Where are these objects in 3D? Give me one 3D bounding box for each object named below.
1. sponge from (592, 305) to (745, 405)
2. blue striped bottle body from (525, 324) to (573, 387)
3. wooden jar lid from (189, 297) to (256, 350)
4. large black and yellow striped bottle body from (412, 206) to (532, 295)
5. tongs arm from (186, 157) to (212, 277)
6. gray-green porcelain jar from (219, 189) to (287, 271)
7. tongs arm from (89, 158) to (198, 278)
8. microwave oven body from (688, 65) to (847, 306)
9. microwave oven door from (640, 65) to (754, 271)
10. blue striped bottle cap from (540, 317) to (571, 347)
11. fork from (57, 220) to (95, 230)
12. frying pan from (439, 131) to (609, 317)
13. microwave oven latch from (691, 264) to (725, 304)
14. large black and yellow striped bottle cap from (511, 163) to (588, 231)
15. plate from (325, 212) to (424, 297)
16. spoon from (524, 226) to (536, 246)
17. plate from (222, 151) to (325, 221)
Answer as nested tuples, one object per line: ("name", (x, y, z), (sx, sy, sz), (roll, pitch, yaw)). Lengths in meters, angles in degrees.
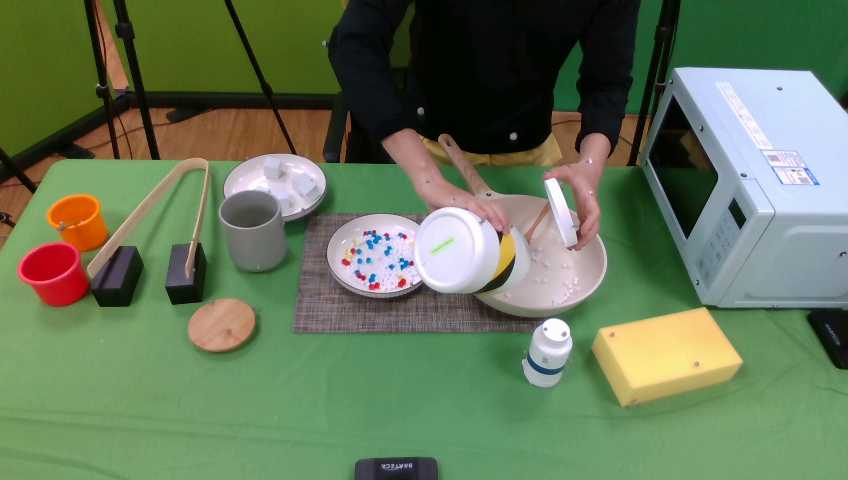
("sponge", (0.405, 0.190, 1.015), (0.207, 0.061, 0.117), (-10, 48, -13))
("blue striped bottle body", (0.201, 0.178, 0.970), (0.063, 0.121, 0.062), (2, 46, -1))
("wooden jar lid", (-0.342, 0.145, 1.033), (0.108, 0.021, 0.107), (2, 45, -2))
("large black and yellow striped bottle body", (0.084, 0.021, 0.968), (0.130, 0.131, 0.185), (44, 20, 31))
("tongs arm", (-0.445, -0.058, 1.168), (0.051, 0.026, 0.382), (-5, 37, -6))
("gray-green porcelain jar", (-0.310, -0.014, 1.113), (0.106, 0.127, 0.105), (2, 46, -2))
("tongs arm", (-0.529, -0.057, 1.164), (0.028, 0.028, 0.385), (1, 36, 8))
("microwave oven body", (0.669, -0.111, 1.176), (0.326, 0.261, 0.439), (0, 46, -3))
("microwave oven door", (0.523, -0.148, 1.193), (0.039, 0.245, 0.353), (0, 47, -3))
("blue striped bottle cap", (0.203, 0.142, 0.933), (0.044, 0.021, 0.044), (3, 50, -4))
("fork", (-0.624, -0.027, 1.087), (0.028, 0.207, 0.018), (-3, 92, -17))
("frying pan", (0.149, -0.049, 1.190), (0.307, 0.103, 0.484), (-17, 58, -20))
("microwave oven latch", (0.521, 0.081, 1.116), (0.030, 0.029, 0.078), (0, 46, -3))
("large black and yellow striped bottle cap", (0.191, -0.066, 0.922), (0.115, 0.019, 0.114), (0, 59, 0))
("plate", (-0.080, 0.030, 1.143), (0.209, 0.038, 0.208), (3, 46, -2))
("spoon", (0.224, -0.034, 1.188), (0.041, 0.022, 0.193), (30, 78, 29))
("plate", (-0.310, -0.106, 1.262), (0.208, 0.039, 0.206), (2, 47, -2))
